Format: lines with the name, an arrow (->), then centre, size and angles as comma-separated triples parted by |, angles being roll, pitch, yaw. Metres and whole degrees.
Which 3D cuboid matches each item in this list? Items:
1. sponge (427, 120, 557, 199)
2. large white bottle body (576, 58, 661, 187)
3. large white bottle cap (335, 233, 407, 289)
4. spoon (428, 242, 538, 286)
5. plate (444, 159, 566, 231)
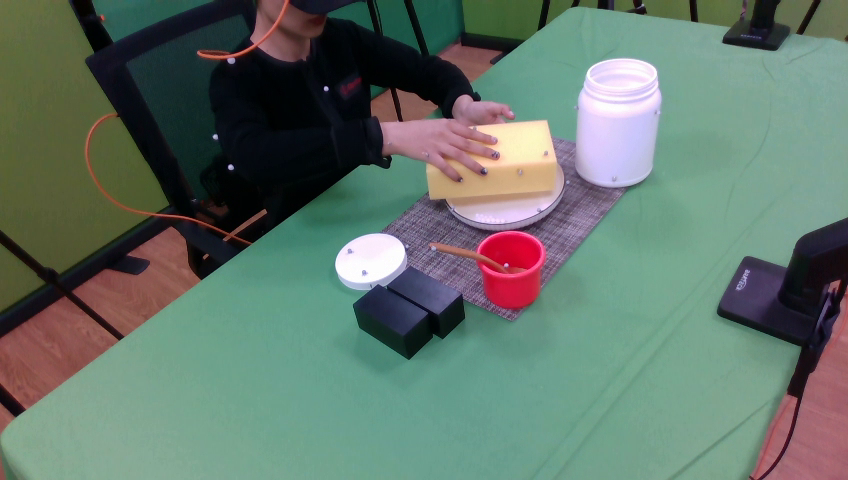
sponge -> 0.109, -0.134, 1.003 | 0.207, 0.061, 0.117 | -4, 44, 2
large white bottle body -> 0.326, -0.197, 1.021 | 0.130, 0.185, 0.130 | -5, 40, 5
large white bottle cap -> -0.085, 0.032, 0.961 | 0.115, 0.018, 0.114 | -6, 41, 6
spoon -> 0.084, 0.030, 0.832 | 0.195, 0.021, 0.041 | 22, 26, -34
plate -> 0.136, -0.088, 1.031 | 0.209, 0.038, 0.208 | -6, 46, 7
